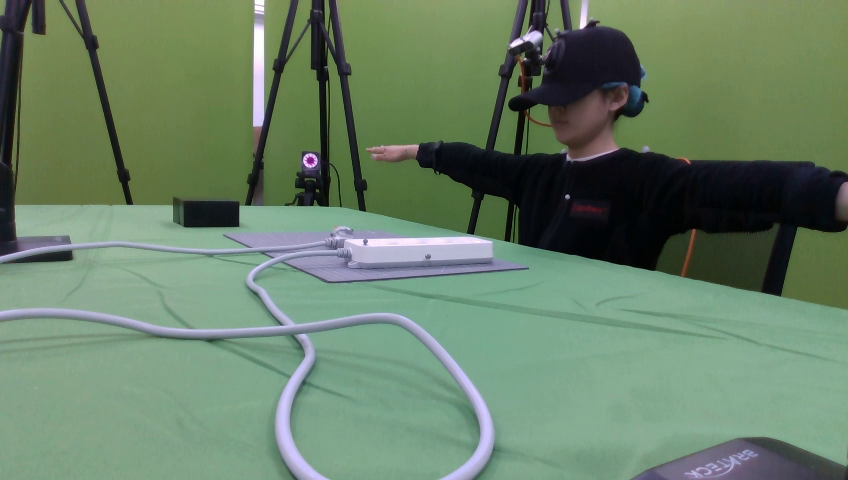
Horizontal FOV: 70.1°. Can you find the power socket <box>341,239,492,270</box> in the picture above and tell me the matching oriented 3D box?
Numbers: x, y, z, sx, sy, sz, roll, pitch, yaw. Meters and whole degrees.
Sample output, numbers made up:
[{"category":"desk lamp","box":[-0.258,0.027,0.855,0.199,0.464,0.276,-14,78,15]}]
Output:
[{"category":"power socket","box":[-0.007,0.018,0.831,0.228,0.032,0.072,-1,7,-29]}]

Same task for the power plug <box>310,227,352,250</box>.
[{"category":"power plug","box":[-0.141,-0.008,0.918,0.073,0.035,0.052,21,12,-37]}]
